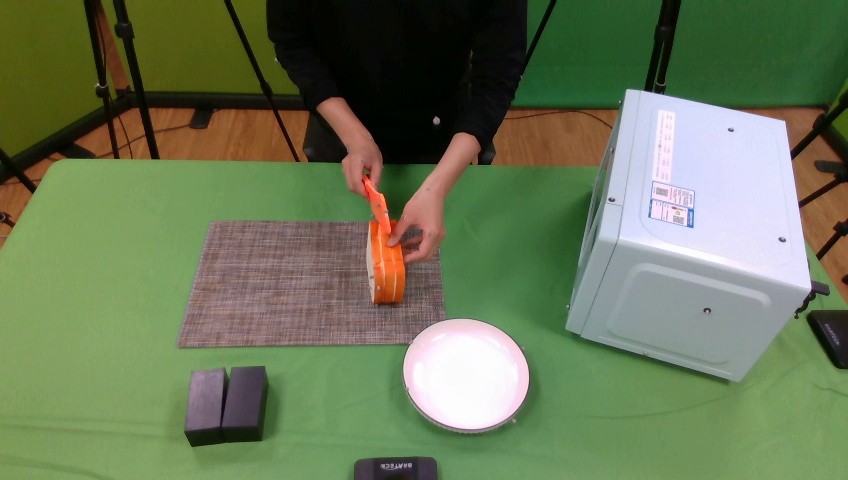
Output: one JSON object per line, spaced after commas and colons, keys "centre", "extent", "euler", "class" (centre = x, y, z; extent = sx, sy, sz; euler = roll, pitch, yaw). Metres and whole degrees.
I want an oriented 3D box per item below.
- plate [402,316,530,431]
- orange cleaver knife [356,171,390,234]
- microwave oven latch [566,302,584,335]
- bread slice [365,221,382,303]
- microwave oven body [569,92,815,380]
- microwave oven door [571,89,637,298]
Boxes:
{"centre": [0.066, 0.217, 0.982], "extent": [0.208, 0.039, 0.206], "euler": [2, 46, -2], "class": "plate"}
{"centre": [-0.092, -0.071, 1.086], "extent": [0.012, 0.077, 0.210], "euler": [-15, 26, -13], "class": "orange cleaver knife"}
{"centre": [0.268, 0.126, 1.059], "extent": [0.030, 0.029, 0.079], "euler": [16, 46, 12], "class": "microwave oven latch"}
{"centre": [-0.091, 0.044, 1.083], "extent": [0.018, 0.107, 0.133], "euler": [-5, 46, -9], "class": "bread slice"}
{"centre": [0.468, -0.021, 1.082], "extent": [0.325, 0.261, 0.440], "euler": [15, 46, 11], "class": "microwave oven body"}
{"centre": [0.343, -0.091, 1.133], "extent": [0.039, 0.245, 0.354], "euler": [15, 47, 10], "class": "microwave oven door"}
